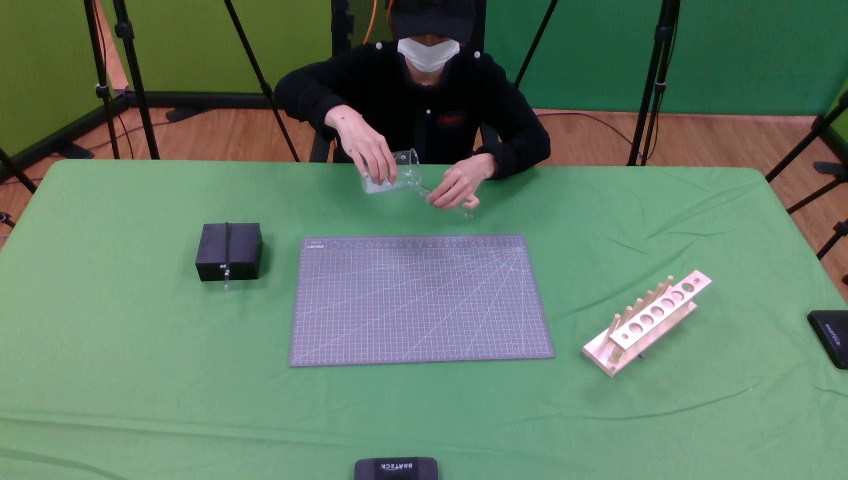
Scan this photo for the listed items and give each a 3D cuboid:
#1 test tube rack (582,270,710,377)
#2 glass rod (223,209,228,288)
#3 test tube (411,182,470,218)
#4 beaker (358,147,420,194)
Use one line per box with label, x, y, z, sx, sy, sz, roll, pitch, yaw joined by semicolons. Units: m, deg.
test tube rack;0.389;0.132;1.057;0.242;0.085;0.066;-28;53;-28
glass rod;-0.360;0.010;1.098;0.008;0.008;0.198;-7;47;-12
test tube;0.034;-0.075;1.172;0.151;0.017;0.017;25;35;-34
beaker;-0.064;-0.121;1.094;0.100;0.084;0.073;-9;42;-12
